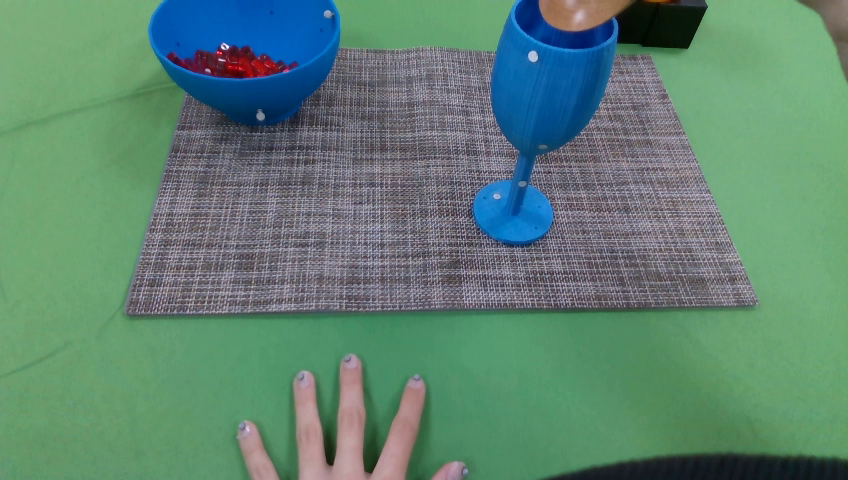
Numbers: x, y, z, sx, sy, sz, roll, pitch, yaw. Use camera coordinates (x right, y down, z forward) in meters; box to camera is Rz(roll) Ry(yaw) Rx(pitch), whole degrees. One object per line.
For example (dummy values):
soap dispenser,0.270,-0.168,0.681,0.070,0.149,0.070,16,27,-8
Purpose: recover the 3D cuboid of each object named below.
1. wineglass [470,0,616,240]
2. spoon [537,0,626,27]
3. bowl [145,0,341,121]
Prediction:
wineglass,0.074,-0.077,0.415,0.074,0.173,0.073,2,53,-3
spoon,0.134,-0.137,0.284,0.022,0.042,0.192,-8,9,-39
bowl,-0.145,-0.156,0.514,0.151,0.077,0.150,2,53,-3
